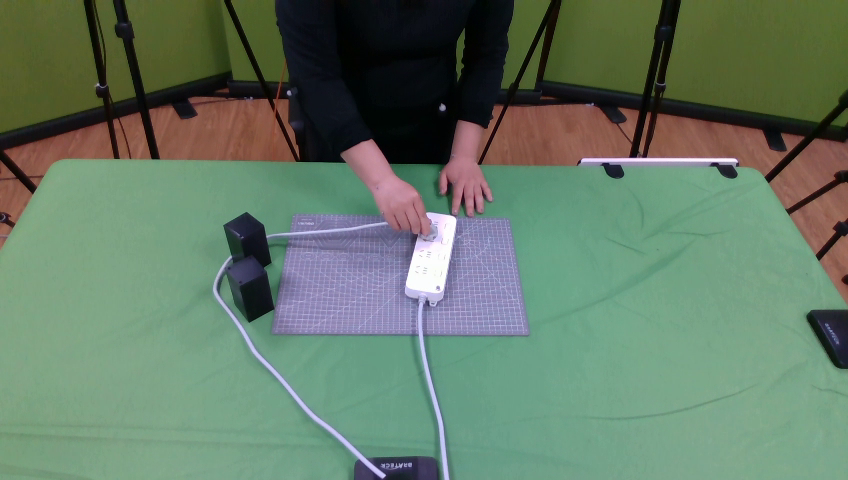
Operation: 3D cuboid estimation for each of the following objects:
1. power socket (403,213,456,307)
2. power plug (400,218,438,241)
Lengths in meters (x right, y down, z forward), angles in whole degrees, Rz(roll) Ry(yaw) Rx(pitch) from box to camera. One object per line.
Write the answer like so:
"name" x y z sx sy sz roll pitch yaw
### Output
"power socket" 0.014 0.030 1.158 0.072 0.033 0.225 9 46 6
"power plug" -0.008 -0.022 1.164 0.072 0.053 0.035 21 47 16
